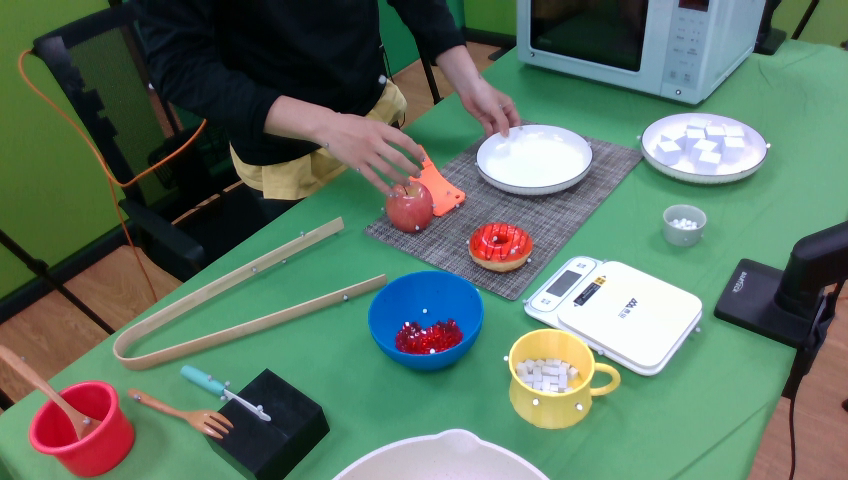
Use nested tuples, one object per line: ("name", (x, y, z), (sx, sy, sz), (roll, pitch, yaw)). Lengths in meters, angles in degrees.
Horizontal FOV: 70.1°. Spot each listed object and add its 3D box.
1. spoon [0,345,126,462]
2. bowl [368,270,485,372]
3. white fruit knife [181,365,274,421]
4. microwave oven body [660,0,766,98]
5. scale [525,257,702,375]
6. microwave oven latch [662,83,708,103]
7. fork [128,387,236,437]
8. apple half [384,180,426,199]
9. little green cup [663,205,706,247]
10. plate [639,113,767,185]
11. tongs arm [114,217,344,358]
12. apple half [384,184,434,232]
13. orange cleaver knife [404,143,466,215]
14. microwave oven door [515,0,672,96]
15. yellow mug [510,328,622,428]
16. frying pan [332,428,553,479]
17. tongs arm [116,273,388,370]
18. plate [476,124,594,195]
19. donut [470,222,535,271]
("spoon", (-0.434, 0.192, 0.720), (0.194, 0.021, 0.042), (47, 53, -7))
("bowl", (0.007, 0.118, 0.791), (0.151, 0.077, 0.150), (-4, 40, 4))
("white fruit knife", (-0.245, 0.187, 0.747), (0.205, 0.027, 0.016), (9, 41, 40))
("microwave oven body", (0.472, -0.513, 1.317), (0.438, 0.261, 0.327), (26, 51, 34))
("scale", (0.254, 0.091, 0.821), (0.199, 0.032, 0.149), (28, 51, 35))
("microwave oven latch", (0.518, -0.296, 1.204), (0.078, 0.029, 0.030), (28, 52, 35))
("fork", (-0.305, 0.207, 0.744), (0.206, 0.019, 0.028), (3, 41, 36))
("apple half", (-0.029, -0.071, 1.015), (0.081, 0.081, 0.032), (-10, 43, -3))
("little green cup", (0.396, -0.020, 0.926), (0.061, 0.039, 0.061), (-4, 40, 4))
("plate", (0.489, -0.157, 1.074), (0.207, 0.039, 0.206), (-4, 40, 4))
("tongs arm", (-0.280, 0.067, 0.926), (0.386, 0.026, 0.050), (-29, 49, -23))
("apple half", (-0.022, -0.046, 0.987), (0.081, 0.075, 0.053), (-8, 44, -5))
("orange cleaver knife", (0.005, -0.114, 1.102), (0.077, 0.012, 0.209), (-24, 45, -9))
("microwave oven door", (0.343, -0.454, 1.259), (0.353, 0.245, 0.039), (26, 51, 33))
("yellow mug", (0.169, 0.164, 0.722), (0.130, 0.064, 0.099), (0, 40, 8))
("frying pan", (-0.089, 0.306, 0.564), (0.487, 0.103, 0.306), (10, 41, 7))
("tongs arm", (-0.236, 0.115, 0.870), (0.389, 0.028, 0.028), (-18, 49, -13))
("plate", (0.199, -0.142, 1.093), (0.209, 0.038, 0.208), (-4, 40, 4))
("donut", (0.119, 0.009, 0.923), (0.099, 0.048, 0.098), (-4, 38, 3))
